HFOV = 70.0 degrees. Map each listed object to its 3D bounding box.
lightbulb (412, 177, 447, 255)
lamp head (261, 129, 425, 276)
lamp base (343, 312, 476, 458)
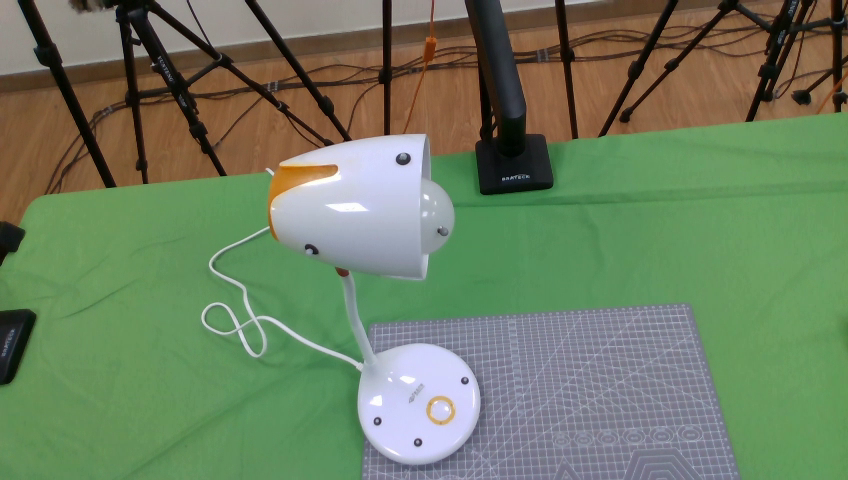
[{"bbox_3d":[-0.036,-0.016,0.455,0.107,0.060,0.059,-4,56,7],"label":"lightbulb"},{"bbox_3d":[-0.059,-0.027,0.462,0.123,0.113,0.111,-2,56,8],"label":"lamp head"},{"bbox_3d":[-0.033,0.157,0.731,0.178,0.182,0.160,17,59,21],"label":"lamp base"}]
